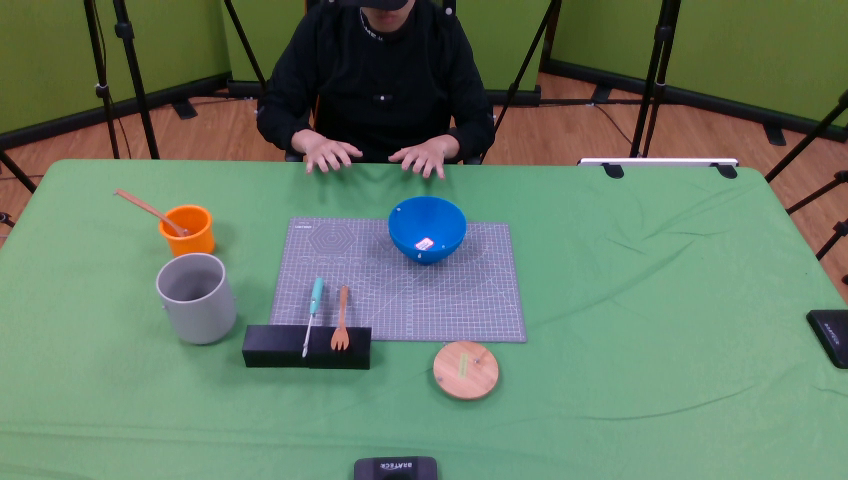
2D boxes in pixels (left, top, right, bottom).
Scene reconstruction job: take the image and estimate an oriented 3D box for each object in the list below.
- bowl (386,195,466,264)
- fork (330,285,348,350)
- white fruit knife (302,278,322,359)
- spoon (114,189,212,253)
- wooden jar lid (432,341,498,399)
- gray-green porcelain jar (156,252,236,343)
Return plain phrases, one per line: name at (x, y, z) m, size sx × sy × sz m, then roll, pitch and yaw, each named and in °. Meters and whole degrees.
bowl at (0.002, -0.007, 1.162) m, size 0.151 × 0.077 × 0.150 m, roll 2°, pitch 46°, yaw -2°
fork at (-0.140, 0.127, 1.021) m, size 0.028 × 0.019 × 0.206 m, roll -5°, pitch 28°, yaw -2°
white fruit knife at (-0.189, 0.126, 1.020) m, size 0.016 × 0.027 × 0.206 m, roll 0°, pitch 33°, yaw -2°
spoon at (-0.475, -0.037, 1.109) m, size 0.021 × 0.195 × 0.041 m, roll -29°, pitch 34°, yaw 32°
wooden jar lid at (0.067, 0.216, 0.997) m, size 0.108 × 0.021 × 0.107 m, roll 1°, pitch 46°, yaw -1°
gray-green porcelain jar at (-0.371, 0.100, 0.999) m, size 0.106 × 0.127 × 0.105 m, roll 2°, pitch 46°, yaw -2°
